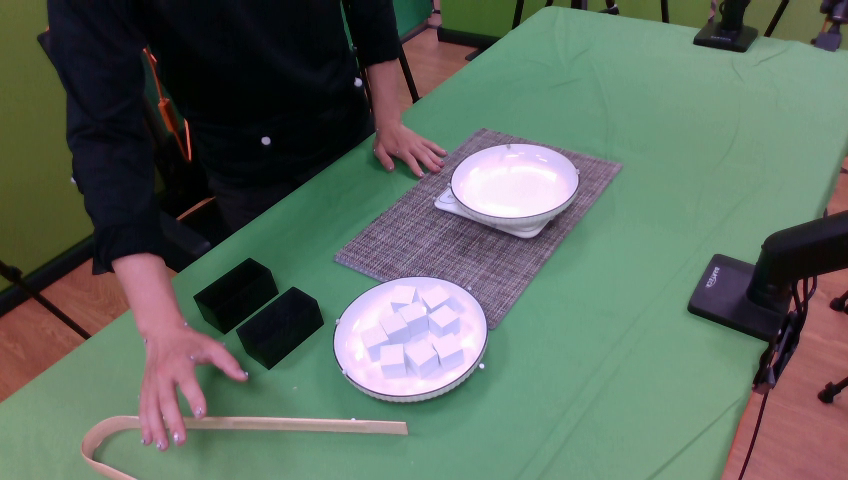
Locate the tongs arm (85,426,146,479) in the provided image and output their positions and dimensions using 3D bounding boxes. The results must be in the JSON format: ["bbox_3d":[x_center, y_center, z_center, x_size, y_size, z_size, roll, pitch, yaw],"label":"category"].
[{"bbox_3d":[-0.232,0.280,0.665,0.383,0.026,0.051,9,42,20],"label":"tongs arm"}]

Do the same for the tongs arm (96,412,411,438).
[{"bbox_3d":[-0.208,0.226,0.731,0.387,0.028,0.028,-1,43,7],"label":"tongs arm"}]

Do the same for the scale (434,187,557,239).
[{"bbox_3d":[0.132,-0.075,1.025,0.199,0.032,0.149,22,48,30],"label":"scale"}]

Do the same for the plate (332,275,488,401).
[{"bbox_3d":[-0.017,0.131,0.808,0.207,0.039,0.206,-4,41,4],"label":"plate"}]

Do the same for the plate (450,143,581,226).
[{"bbox_3d":[0.148,-0.087,0.986,0.209,0.038,0.208,-4,41,4],"label":"plate"}]
